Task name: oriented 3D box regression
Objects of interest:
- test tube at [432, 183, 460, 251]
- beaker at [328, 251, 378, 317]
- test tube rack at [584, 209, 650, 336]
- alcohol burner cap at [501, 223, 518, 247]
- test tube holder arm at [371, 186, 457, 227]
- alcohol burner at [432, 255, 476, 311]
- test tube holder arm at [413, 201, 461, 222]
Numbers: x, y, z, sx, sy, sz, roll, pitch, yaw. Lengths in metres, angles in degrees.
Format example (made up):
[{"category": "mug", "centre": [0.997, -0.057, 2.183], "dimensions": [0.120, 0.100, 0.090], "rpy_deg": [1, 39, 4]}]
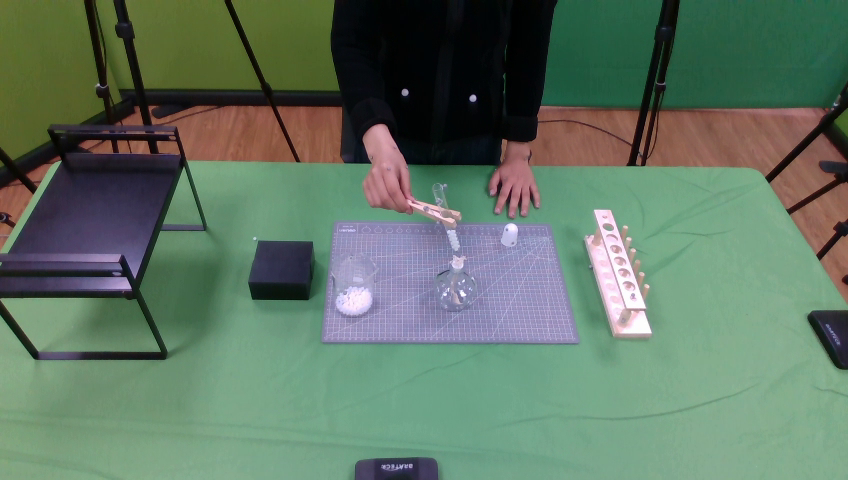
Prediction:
[{"category": "test tube", "centre": [0.036, -0.033, 0.952], "dimensions": [0.017, 0.151, 0.017], "rpy_deg": [-9, 49, 10]}, {"category": "beaker", "centre": [-0.122, 0.080, 1.055], "dimensions": [0.084, 0.101, 0.073], "rpy_deg": [0, 47, -5]}, {"category": "test tube rack", "centre": [0.365, 0.056, 1.129], "dimensions": [0.067, 0.085, 0.240], "rpy_deg": [1, 46, -3]}, {"category": "alcohol burner cap", "centre": [0.172, -0.013, 1.207], "dimensions": [0.034, 0.048, 0.033], "rpy_deg": [1, 45, -1]}, {"category": "test tube holder arm", "centre": [-0.020, -0.056, 0.981], "dimensions": [0.177, 0.015, 0.013], "rpy_deg": [22, 57, 32]}, {"category": "alcohol burner", "centre": [0.055, 0.070, 1.068], "dimensions": [0.078, 0.119, 0.077], "rpy_deg": [3, 45, -3]}, {"category": "test tube holder arm", "centre": [0.019, -0.046, 0.960], "dimensions": [0.087, 0.015, 0.010], "rpy_deg": [16, 54, 29]}]
